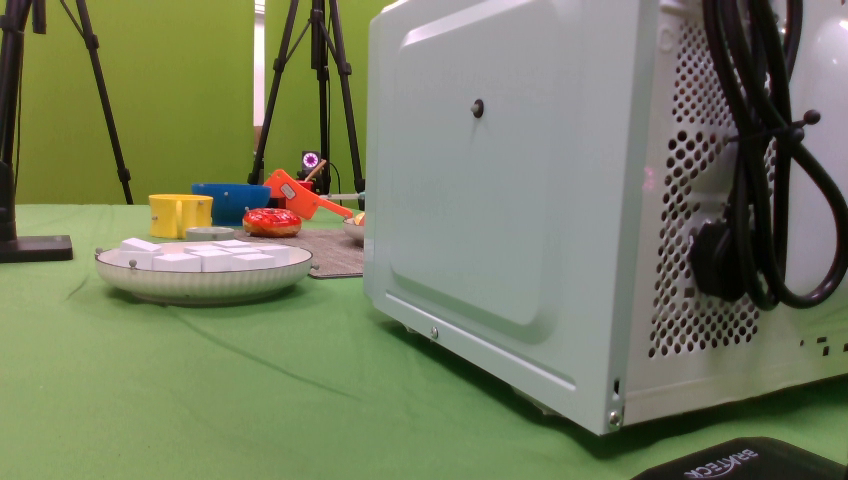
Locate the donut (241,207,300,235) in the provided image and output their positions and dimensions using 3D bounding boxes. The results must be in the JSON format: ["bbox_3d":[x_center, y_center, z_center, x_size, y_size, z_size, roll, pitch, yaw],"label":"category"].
[{"bbox_3d":[-0.263,-0.032,1.039,0.099,0.048,0.099,4,9,0],"label":"donut"}]

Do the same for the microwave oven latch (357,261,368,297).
[{"bbox_3d":[-0.019,0.033,0.531,0.079,0.029,0.030,-1,7,-27],"label":"microwave oven latch"}]

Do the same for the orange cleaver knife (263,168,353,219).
[{"bbox_3d":[-0.262,-0.088,1.352,0.211,0.077,0.012,28,13,0],"label":"orange cleaver knife"}]

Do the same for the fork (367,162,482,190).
[{"bbox_3d":[0.005,-0.098,0.958,0.208,0.018,0.028,4,35,-27],"label":"fork"}]

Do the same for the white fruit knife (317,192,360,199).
[{"bbox_3d":[-0.122,-0.085,1.143,0.027,0.016,0.208,-27,-11,37],"label":"white fruit knife"}]

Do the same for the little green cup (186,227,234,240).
[{"bbox_3d":[-0.284,0.005,0.805,0.061,0.038,0.061,2,8,0],"label":"little green cup"}]

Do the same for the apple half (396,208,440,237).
[{"bbox_3d":[-0.008,-0.037,1.052,0.081,0.033,0.081,14,27,-7],"label":"apple half"}]

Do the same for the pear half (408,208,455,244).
[{"bbox_3d":[0.018,-0.026,1.000,0.076,0.056,0.110,10,9,19],"label":"pear half"}]

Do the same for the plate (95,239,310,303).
[{"bbox_3d":[-0.224,0.031,0.629,0.208,0.039,0.207,2,8,0],"label":"plate"}]

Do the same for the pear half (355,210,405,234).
[{"bbox_3d":[-0.075,-0.035,1.045,0.088,0.031,0.070,4,27,-9],"label":"pear half"}]

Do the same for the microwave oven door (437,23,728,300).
[{"bbox_3d":[0.181,-0.072,0.621,0.358,0.243,0.039,-2,8,-29],"label":"microwave oven door"}]

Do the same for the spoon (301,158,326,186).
[{"bbox_3d":[-0.320,-0.160,1.646,0.041,0.022,0.194,8,53,34],"label":"spoon"}]

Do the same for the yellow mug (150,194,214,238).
[{"bbox_3d":[-0.401,-0.040,1.003,0.100,0.064,0.130,-1,9,-20],"label":"yellow mug"}]

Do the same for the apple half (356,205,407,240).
[{"bbox_3d":[-0.065,-0.029,0.969,0.081,0.053,0.074,3,7,-26],"label":"apple half"}]

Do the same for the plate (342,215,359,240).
[{"bbox_3d":[-0.033,-0.014,1.005,0.209,0.038,0.209,2,8,0],"label":"plate"}]

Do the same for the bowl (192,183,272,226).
[{"bbox_3d":[-0.381,-0.070,1.202,0.151,0.077,0.151,3,7,0],"label":"bowl"}]

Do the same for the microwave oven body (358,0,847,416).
[{"bbox_3d":[0.211,-0.047,0.474,0.444,0.260,0.324,-1,7,-28],"label":"microwave oven body"}]
